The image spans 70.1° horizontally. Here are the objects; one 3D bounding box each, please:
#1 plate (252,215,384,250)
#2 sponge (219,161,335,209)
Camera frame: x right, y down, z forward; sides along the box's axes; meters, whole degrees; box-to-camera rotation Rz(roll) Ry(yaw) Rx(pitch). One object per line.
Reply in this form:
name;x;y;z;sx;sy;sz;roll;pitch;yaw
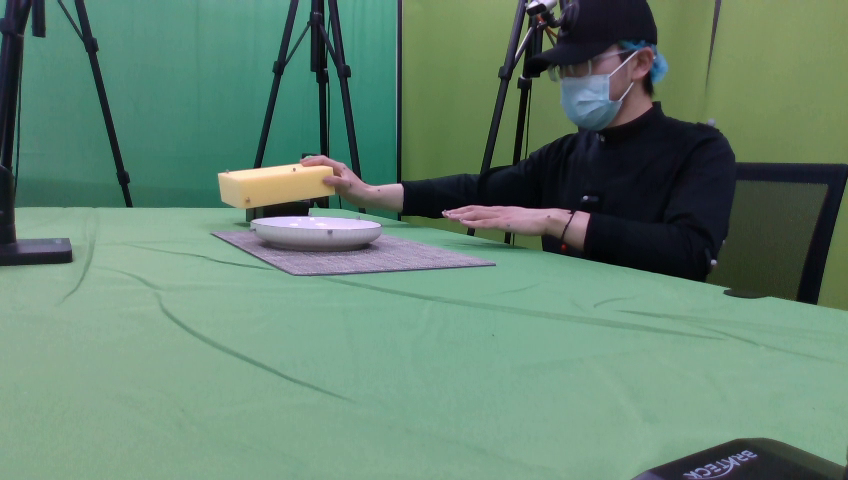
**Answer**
plate;-0.169;-0.012;0.976;0.208;0.039;0.207;2;7;0
sponge;-0.306;-0.118;1.267;0.208;0.061;0.117;-14;18;-34
